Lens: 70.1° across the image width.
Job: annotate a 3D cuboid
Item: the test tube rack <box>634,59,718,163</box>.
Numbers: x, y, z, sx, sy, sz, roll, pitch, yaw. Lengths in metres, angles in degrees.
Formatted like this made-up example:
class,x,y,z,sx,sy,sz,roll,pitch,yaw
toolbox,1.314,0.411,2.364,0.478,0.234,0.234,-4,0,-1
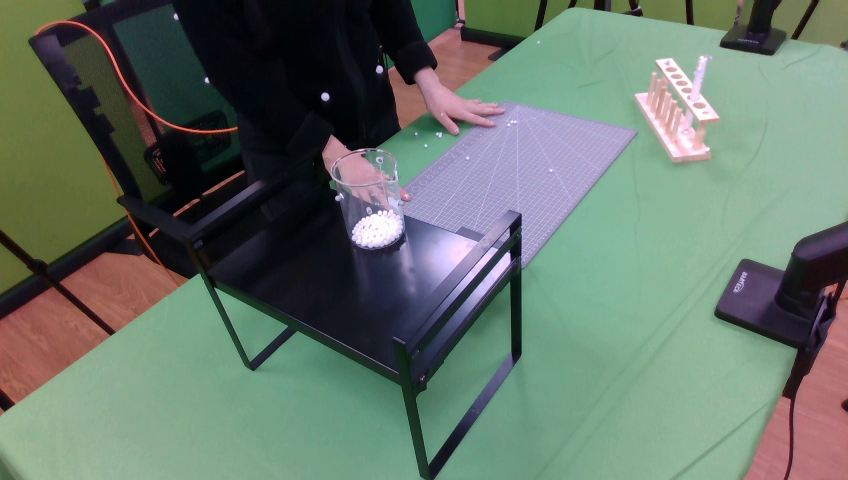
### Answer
class,x,y,z,sx,sy,sz,roll,pitch,yaw
test tube rack,0.470,-0.250,1.148,0.067,0.085,0.241,-6,40,3

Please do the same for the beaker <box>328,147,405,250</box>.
class,x,y,z,sx,sy,sz,roll,pitch,yaw
beaker,-0.060,-0.045,0.699,0.083,0.101,0.074,19,47,27

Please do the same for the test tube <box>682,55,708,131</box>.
class,x,y,z,sx,sy,sz,roll,pitch,yaw
test tube,0.482,-0.258,1.079,0.017,0.151,0.017,-4,45,4
